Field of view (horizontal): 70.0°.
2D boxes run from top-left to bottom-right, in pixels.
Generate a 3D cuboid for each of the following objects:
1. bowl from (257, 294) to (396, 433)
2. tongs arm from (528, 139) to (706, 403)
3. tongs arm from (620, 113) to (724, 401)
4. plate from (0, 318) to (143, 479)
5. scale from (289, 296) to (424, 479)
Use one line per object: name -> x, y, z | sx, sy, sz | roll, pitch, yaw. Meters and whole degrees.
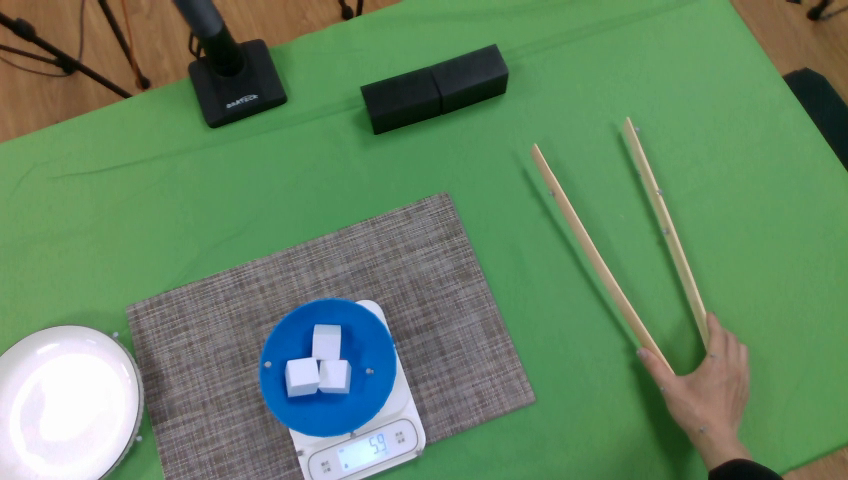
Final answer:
bowl -> -0.105, 0.144, 0.691 | 0.151, 0.077, 0.150 | 0, 72, 0
tongs arm -> 0.232, 0.033, 0.765 | 0.028, 0.028, 0.385 | -23, 75, -17
tongs arm -> 0.304, 0.011, 0.779 | 0.051, 0.026, 0.382 | -13, 73, -11
plate -> -0.442, 0.200, 0.737 | 0.208, 0.039, 0.206 | 0, 72, 1
scale -> -0.097, 0.178, 0.735 | 0.149, 0.032, 0.199 | -20, 73, -5
